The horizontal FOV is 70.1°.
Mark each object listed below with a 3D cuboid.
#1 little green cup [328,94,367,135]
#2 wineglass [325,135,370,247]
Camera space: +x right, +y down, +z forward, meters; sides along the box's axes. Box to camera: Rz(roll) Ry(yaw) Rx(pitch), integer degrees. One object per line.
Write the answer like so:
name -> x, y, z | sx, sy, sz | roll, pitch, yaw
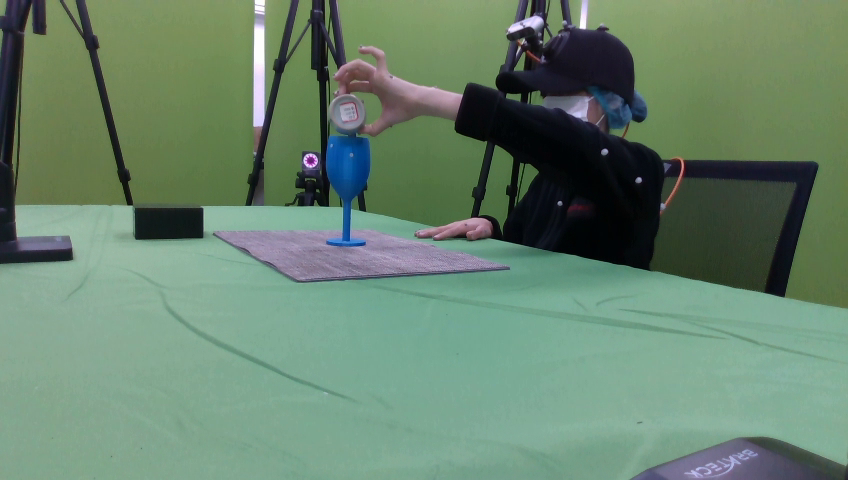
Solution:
little green cup -> -0.116, -0.191, 0.915 | 0.062, 0.061, 0.038 | 2, 5, -9
wineglass -> -0.123, -0.078, 0.964 | 0.074, 0.172, 0.073 | 3, 7, 0
